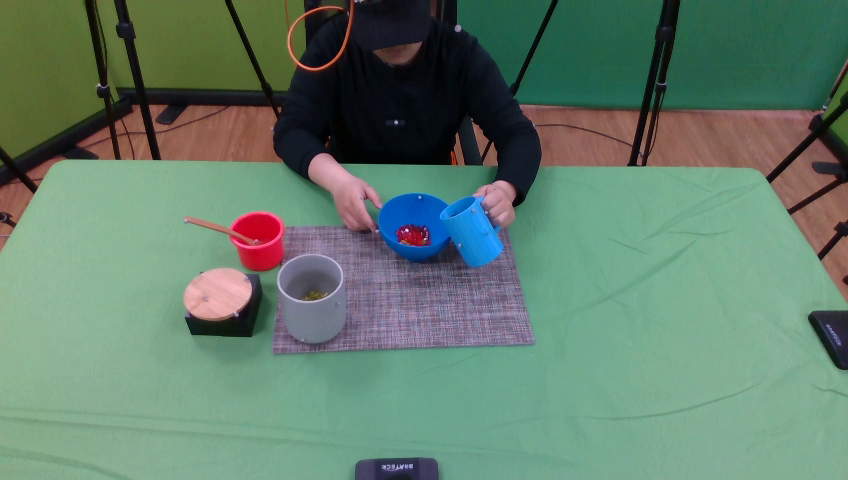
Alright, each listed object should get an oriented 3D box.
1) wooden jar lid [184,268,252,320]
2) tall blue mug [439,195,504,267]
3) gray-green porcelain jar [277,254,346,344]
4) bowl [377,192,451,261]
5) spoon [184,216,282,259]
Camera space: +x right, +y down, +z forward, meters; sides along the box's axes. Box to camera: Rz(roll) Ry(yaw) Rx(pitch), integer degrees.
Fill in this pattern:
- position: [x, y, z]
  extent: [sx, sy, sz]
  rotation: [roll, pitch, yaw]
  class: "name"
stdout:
- position: [-0.343, 0.092, 1.015]
  extent: [0.108, 0.021, 0.107]
  rotation: [3, 46, -3]
  class: "wooden jar lid"
- position: [0.092, -0.023, 1.112]
  extent: [0.078, 0.108, 0.107]
  rotation: [-21, 22, 27]
  class: "tall blue mug"
- position: [-0.184, 0.102, 1.008]
  extent: [0.106, 0.127, 0.105]
  rotation: [2, 46, -2]
  class: "gray-green porcelain jar"
- position: [-0.015, -0.013, 1.166]
  extent: [0.151, 0.077, 0.150]
  rotation: [2, 46, -2]
  class: "bowl"
- position: [-0.341, -0.008, 1.096]
  extent: [0.021, 0.195, 0.041]
  rotation: [-36, 47, 25]
  class: "spoon"
